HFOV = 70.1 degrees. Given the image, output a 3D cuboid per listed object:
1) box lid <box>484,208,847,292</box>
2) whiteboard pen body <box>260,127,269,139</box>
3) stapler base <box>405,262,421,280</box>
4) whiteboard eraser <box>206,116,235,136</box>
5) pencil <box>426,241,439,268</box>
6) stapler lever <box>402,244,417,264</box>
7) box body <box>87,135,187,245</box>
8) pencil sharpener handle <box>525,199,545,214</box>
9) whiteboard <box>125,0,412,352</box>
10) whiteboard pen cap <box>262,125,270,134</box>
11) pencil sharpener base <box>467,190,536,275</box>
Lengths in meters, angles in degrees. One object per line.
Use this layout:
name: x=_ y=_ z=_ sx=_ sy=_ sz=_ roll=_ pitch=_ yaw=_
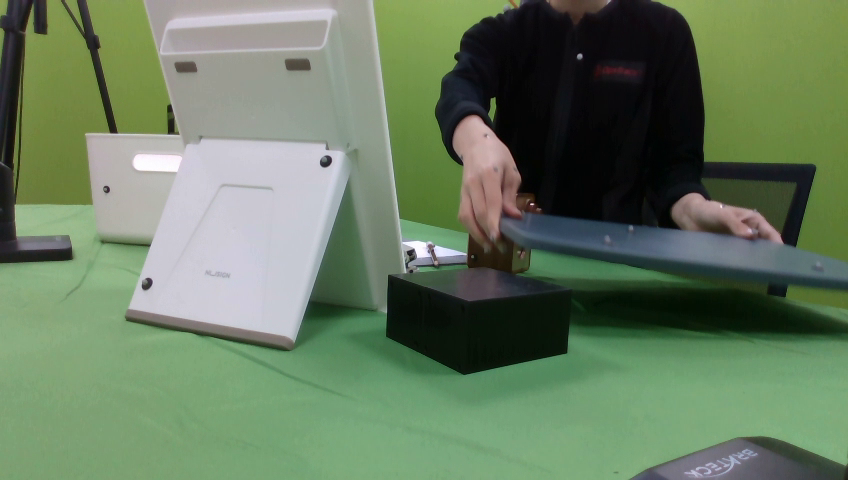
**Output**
box lid: x=0.260 y=0.009 z=0.628 sx=0.372 sy=0.015 sz=0.263 roll=7 pitch=9 yaw=-5
whiteboard pen body: x=-0.366 y=-0.247 z=1.392 sx=0.017 sy=0.017 sz=0.140 roll=0 pitch=3 yaw=-17
stapler base: x=-0.069 y=0.027 z=0.759 sx=0.130 sy=0.024 sz=0.041 roll=9 pitch=13 yaw=23
whiteboard eraser: x=-0.450 y=-0.252 z=1.335 sx=0.056 sy=0.042 sz=0.112 roll=1 pitch=7 yaw=-22
pencil: x=0.013 y=0.021 z=0.885 sx=0.012 sy=0.012 sz=0.194 roll=2 pitch=9 yaw=-3
stapler lever: x=-0.066 y=0.003 z=0.755 sx=0.117 sy=0.040 sz=0.027 roll=9 pitch=13 yaw=23
box body: x=-0.338 y=-0.088 z=1.022 sx=0.254 sy=0.160 sz=0.364 roll=3 pitch=7 yaw=9
pencil sharpener handle: x=0.151 y=-0.019 z=0.782 sx=0.030 sy=0.068 sz=0.036 roll=8 pitch=23 yaw=33
whiteboard: x=-0.151 y=-0.049 z=0.472 sx=0.216 sy=0.305 sz=0.144 roll=6 pitch=27 yaw=24
whiteboard pen cap: x=-0.349 y=-0.244 z=1.336 sx=0.018 sy=0.018 sz=0.033 roll=0 pitch=2 yaw=-17
pencil sharpener base: x=0.106 y=-0.012 z=0.808 sx=0.076 sy=0.107 sz=0.061 roll=8 pitch=9 yaw=33
